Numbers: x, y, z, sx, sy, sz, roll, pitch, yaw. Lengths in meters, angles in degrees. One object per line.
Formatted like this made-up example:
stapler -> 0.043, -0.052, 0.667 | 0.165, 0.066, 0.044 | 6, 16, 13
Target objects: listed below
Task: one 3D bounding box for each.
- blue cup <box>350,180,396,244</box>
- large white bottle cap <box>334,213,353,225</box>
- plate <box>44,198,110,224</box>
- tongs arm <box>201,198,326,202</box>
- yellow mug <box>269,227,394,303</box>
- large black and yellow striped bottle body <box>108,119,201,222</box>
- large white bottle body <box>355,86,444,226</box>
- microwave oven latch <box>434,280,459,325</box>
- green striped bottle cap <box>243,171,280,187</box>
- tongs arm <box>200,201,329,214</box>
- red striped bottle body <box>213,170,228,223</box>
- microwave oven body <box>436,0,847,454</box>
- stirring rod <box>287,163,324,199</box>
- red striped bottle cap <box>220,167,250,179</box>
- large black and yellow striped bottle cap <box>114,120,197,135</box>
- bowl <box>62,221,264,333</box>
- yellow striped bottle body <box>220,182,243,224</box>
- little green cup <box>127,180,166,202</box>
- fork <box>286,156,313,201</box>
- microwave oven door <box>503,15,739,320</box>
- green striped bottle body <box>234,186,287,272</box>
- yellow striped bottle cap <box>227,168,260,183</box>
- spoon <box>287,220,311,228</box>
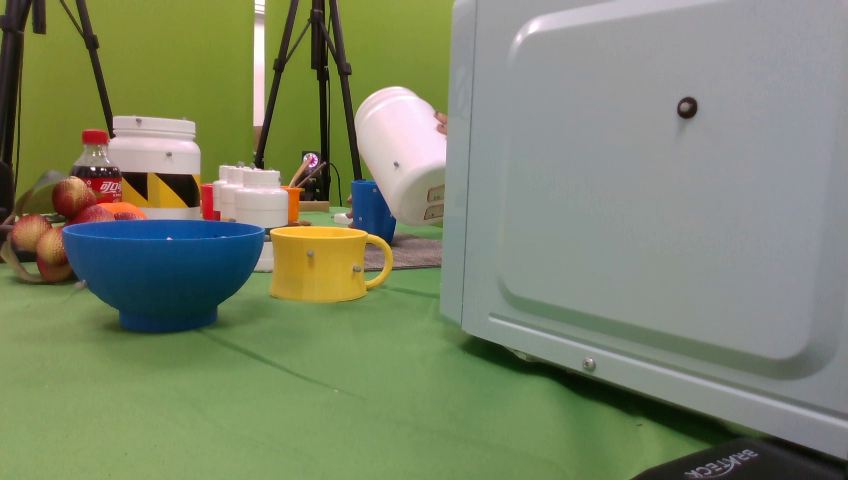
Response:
blue cup -> -0.082, -0.047, 1.008 | 0.093, 0.100, 0.092 | 2, 9, 0
large white bottle cap -> -0.145, -0.048, 1.355 | 0.115, 0.018, 0.115 | 2, 7, 0
plate -> -0.617, -0.056, 1.179 | 0.209, 0.038, 0.209 | 3, 7, 0
tongs arm -> -0.433, -0.090, 1.508 | 0.390, 0.028, 0.028 | -1, 2, -29
yellow mug -> -0.094, 0.023, 0.629 | 0.131, 0.064, 0.099 | 0, 7, -22
large black and yellow striped bottle body -> -0.412, -0.088, 0.930 | 0.131, 0.184, 0.130 | 3, 7, 0
large white bottle body -> -0.021, -0.126, 0.887 | 0.131, 0.130, 0.184 | -3, 50, -35
microwave oven latch -> 0.044, 0.045, 0.470 | 0.079, 0.029, 0.030 | -2, 8, -39
green striped bottle cap -> -0.198, -0.074, 0.736 | 0.044, 0.020, 0.044 | 1, 7, 0
tongs arm -> -0.378, -0.079, 1.440 | 0.387, 0.026, 0.050 | -4, 8, -44
red striped bottle body -> -0.283, -0.047, 0.910 | 0.063, 0.119, 0.063 | 2, 14, 0
microwave oven body -> 0.279, -0.040, 0.465 | 0.444, 0.260, 0.324 | -3, 9, -41
stirring rod -> -0.278, -0.105, 1.293 | 0.176, 0.006, 0.014 | -46, 25, -18
red striped bottle cap -> -0.282, -0.100, 0.901 | 0.044, 0.017, 0.044 | 0, 5, 0
large black and yellow striped bottle cap -> -0.407, -0.171, 0.920 | 0.115, 0.019, 0.115 | 2, 9, 0
bowl -> -0.209, 0.029, 0.496 | 0.151, 0.077, 0.151 | 2, 7, 0
yellow striped bottle body -> -0.245, -0.036, 0.825 | 0.063, 0.120, 0.063 | 3, 8, 0
little green cup -> -0.486, -0.086, 1.061 | 0.061, 0.038, 0.061 | 0, 6, 0
fork -> -0.288, -0.117, 1.319 | 0.028, 0.019, 0.207 | -8, 45, 33
microwave oven door -> 0.218, -0.065, 0.600 | 0.358, 0.243, 0.039 | -4, 10, -41
green striped bottle body -> -0.200, -0.023, 0.743 | 0.063, 0.119, 0.063 | 2, 7, 0
yellow striped bottle cap -> -0.243, -0.087, 0.818 | 0.044, 0.018, 0.044 | 3, 6, 0
spoon -> -0.232, -0.027, 1.116 | 0.041, 0.021, 0.193 | -22, 6, 4
